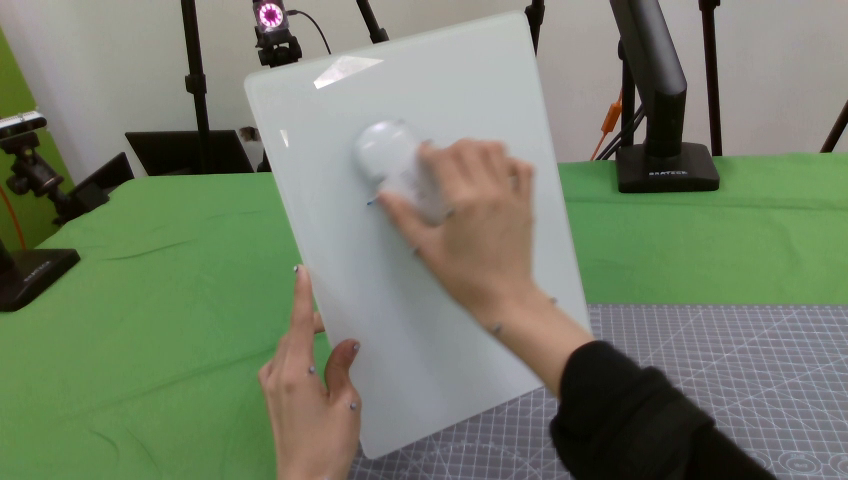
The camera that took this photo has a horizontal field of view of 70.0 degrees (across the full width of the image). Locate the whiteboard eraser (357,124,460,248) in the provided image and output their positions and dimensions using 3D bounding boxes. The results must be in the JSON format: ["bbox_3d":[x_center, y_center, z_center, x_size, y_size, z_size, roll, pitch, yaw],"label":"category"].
[{"bbox_3d":[-0.010,-0.038,0.440,0.041,0.102,0.018,-39,20,-11],"label":"whiteboard eraser"}]

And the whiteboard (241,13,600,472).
[{"bbox_3d":[-0.004,-0.006,0.527,0.217,0.307,0.143,-19,13,-14],"label":"whiteboard"}]
